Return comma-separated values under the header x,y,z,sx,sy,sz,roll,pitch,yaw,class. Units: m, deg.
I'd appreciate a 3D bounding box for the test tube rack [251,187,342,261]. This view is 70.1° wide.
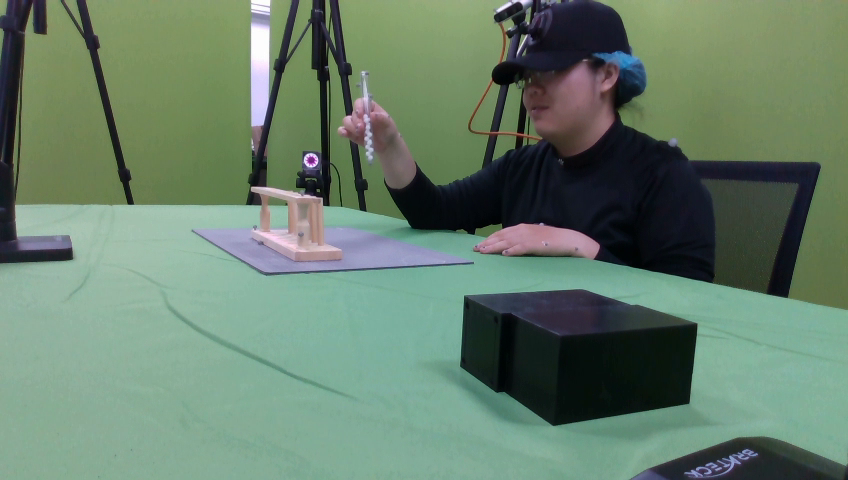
x,y,z,sx,sy,sz,roll,pitch,yaw,class
-0.196,-0.030,0.902,0.067,0.085,0.241,-1,8,-29,test tube rack

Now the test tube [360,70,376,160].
x,y,z,sx,sy,sz,roll,pitch,yaw,class
-0.094,-0.210,1.014,0.017,0.150,0.017,-5,-1,0,test tube
